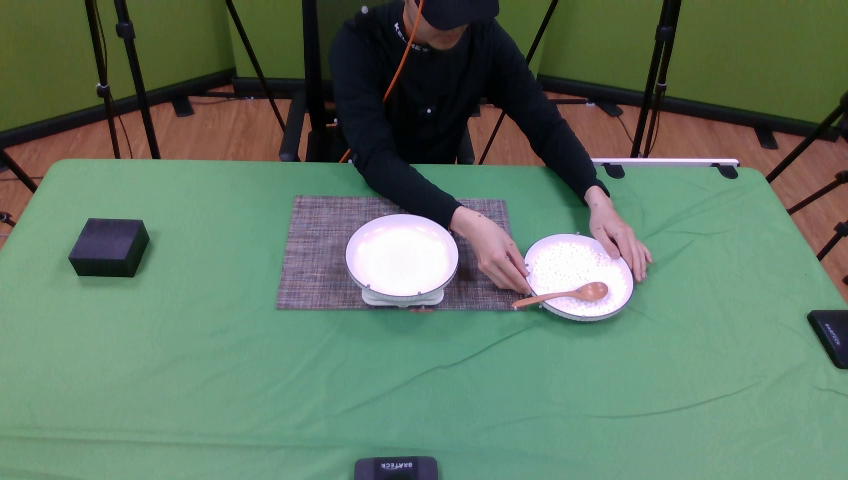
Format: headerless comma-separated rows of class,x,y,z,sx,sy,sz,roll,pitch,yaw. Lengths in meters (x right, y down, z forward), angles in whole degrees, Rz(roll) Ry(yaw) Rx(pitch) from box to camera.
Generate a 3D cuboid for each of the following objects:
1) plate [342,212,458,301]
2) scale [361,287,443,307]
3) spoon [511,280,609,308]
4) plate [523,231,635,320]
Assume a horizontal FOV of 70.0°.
plate,-0.043,0.033,1.104,0.208,0.039,0.206,2,46,-2
scale,-0.042,0.041,1.143,0.149,0.032,0.199,0,46,-4
spoon,0.245,0.098,1.088,0.194,0.022,0.041,-5,47,-19
plate,0.287,0.069,1.141,0.209,0.038,0.208,2,46,-2
